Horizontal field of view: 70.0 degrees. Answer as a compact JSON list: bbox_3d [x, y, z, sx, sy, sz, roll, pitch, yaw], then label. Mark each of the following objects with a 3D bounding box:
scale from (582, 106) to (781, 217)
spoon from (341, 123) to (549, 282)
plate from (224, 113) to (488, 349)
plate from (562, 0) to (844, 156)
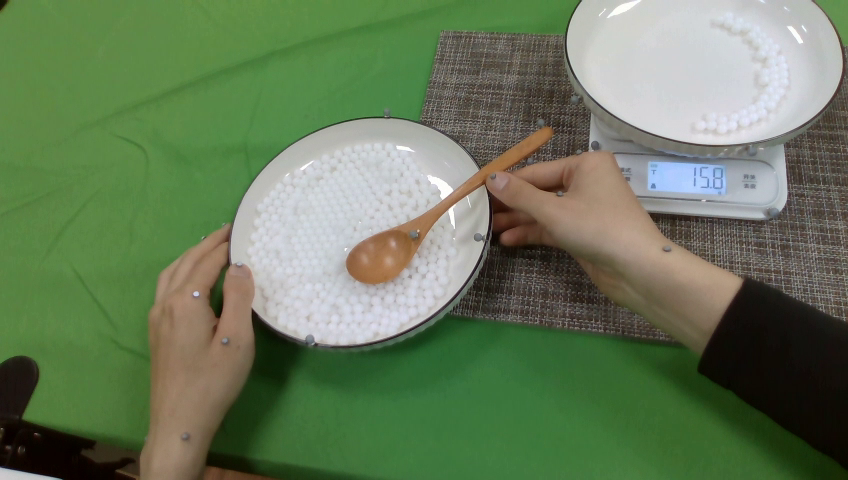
[{"bbox_3d":[0.212,-0.114,0.506,0.148,0.032,0.199,5,62,10],"label":"scale"},{"bbox_3d":[0.020,-0.032,0.461,0.194,0.022,0.041,-37,64,-3],"label":"spoon"},{"bbox_3d":[-0.052,-0.009,0.479,0.209,0.038,0.207,-4,61,7],"label":"plate"},{"bbox_3d":[0.215,-0.147,0.487,0.207,0.039,0.206,-3,61,5],"label":"plate"}]
